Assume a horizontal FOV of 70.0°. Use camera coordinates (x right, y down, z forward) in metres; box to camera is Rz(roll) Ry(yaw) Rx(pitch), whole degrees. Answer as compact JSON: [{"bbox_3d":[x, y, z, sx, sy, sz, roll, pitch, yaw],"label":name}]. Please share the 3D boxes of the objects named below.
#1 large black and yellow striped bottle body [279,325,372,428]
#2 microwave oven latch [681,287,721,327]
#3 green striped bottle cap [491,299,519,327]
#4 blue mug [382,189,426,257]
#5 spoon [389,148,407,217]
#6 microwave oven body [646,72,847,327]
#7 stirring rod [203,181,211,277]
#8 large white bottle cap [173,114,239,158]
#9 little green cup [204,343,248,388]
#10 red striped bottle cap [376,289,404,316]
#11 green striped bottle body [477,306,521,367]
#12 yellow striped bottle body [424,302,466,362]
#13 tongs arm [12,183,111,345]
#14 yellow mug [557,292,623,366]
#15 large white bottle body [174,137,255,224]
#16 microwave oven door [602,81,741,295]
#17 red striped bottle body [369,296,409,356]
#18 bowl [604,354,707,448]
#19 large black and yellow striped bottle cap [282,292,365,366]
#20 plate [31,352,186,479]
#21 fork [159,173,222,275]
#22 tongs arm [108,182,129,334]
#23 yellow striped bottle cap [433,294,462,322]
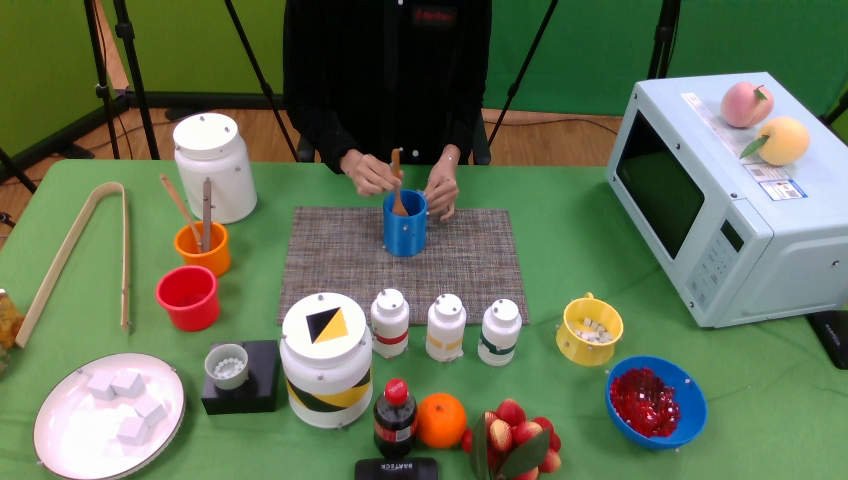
[{"bbox_3d":[-0.143,0.181,0.900,0.131,0.185,0.130,2,46,-2],"label":"large black and yellow striped bottle body"},{"bbox_3d":[0.494,0.119,1.087,0.030,0.029,0.078,-6,46,-9],"label":"microwave oven latch"},{"bbox_3d":[0.128,0.115,0.958,0.044,0.020,0.044,1,46,-1],"label":"green striped bottle cap"},{"bbox_3d":[-0.031,-0.042,1.174,0.082,0.106,0.116,26,50,19],"label":"blue mug"},{"bbox_3d":[-0.052,-0.090,1.086,0.041,0.195,0.021,-5,45,-4],"label":"spoon"},{"bbox_3d":[0.607,-0.089,1.164,0.326,0.261,0.438,-7,46,-10],"label":"microwave oven body"},{"bbox_3d":[-0.396,-0.021,1.107,0.014,0.006,0.176,-1,89,-1],"label":"stirring rod"},{"bbox_3d":[-0.403,-0.195,1.122,0.115,0.018,0.114,2,47,-2],"label":"large white bottle cap"},{"bbox_3d":[-0.294,0.190,0.909,0.061,0.039,0.061,1,48,-1],"label":"little green cup"},{"bbox_3d":[-0.054,0.098,0.958,0.044,0.018,0.044,0,48,0],"label":"red striped bottle cap"},{"bbox_3d":[0.124,0.151,0.995,0.063,0.120,0.063,2,46,-2],"label":"green striped bottle body"},{"bbox_3d":[0.035,0.143,0.995,0.063,0.121,0.062,3,46,-2],"label":"yellow striped bottle body"},{"bbox_3d":[-0.657,0.027,1.109,0.028,0.028,0.385,-2,45,1],"label":"tongs arm"},{"bbox_3d":[0.285,0.145,1.051,0.100,0.064,0.130,7,45,4],"label":"yellow mug"},{"bbox_3d":[-0.408,-0.136,1.183,0.131,0.185,0.130,2,46,-2],"label":"large white bottle body"},{"bbox_3d":[0.456,-0.107,1.162,0.039,0.245,0.353,-7,47,-11],"label":"microwave oven door"},{"bbox_3d":[-0.058,0.134,0.997,0.063,0.120,0.062,4,47,-4],"label":"red striped bottle body"},{"bbox_3d":[0.346,0.261,0.937,0.151,0.077,0.150,2,46,-2],"label":"bowl"},{"bbox_3d":[-0.139,0.121,0.841,0.115,0.019,0.114,3,47,-3],"label":"large black and yellow striped bottle cap"},{"bbox_3d":[-0.459,0.262,0.898,0.209,0.038,0.208,2,46,-2],"label":"plate"},{"bbox_3d":[-0.427,-0.029,1.103,0.028,0.018,0.207,-31,99,-31],"label":"fork"},{"bbox_3d":[-0.571,0.019,1.123,0.051,0.026,0.382,-10,47,-12],"label":"tongs arm"},{"bbox_3d":[0.037,0.107,0.958,0.044,0.019,0.044,2,45,-2],"label":"yellow striped bottle cap"}]
